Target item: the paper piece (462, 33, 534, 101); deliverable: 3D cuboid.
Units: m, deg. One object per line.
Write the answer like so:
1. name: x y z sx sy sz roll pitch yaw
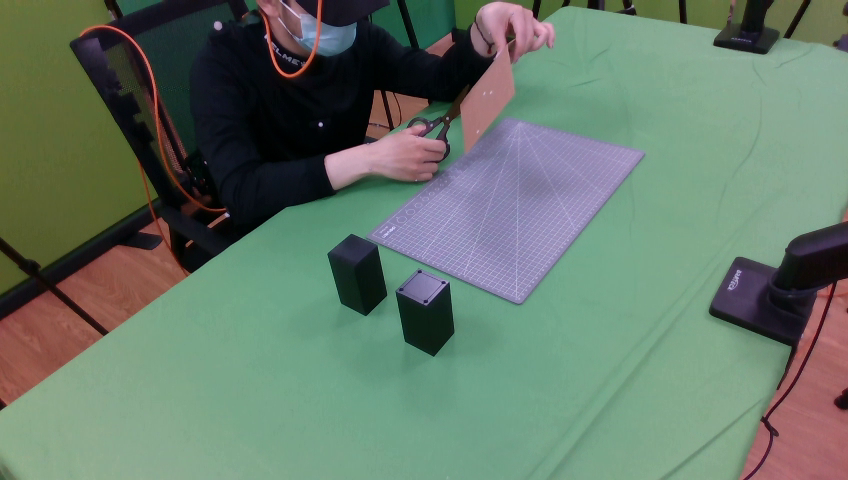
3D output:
1. paper piece: 0.131 -0.304 1.066 0.008 0.135 0.138 47 38 2

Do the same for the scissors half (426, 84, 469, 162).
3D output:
1. scissors half: 0.045 -0.206 1.082 0.040 0.175 0.013 32 44 7

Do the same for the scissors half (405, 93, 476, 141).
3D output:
1. scissors half: 0.028 -0.222 1.080 0.174 0.040 0.013 -20 25 39

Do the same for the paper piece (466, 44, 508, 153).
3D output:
1. paper piece: 0.099 -0.227 0.967 0.004 0.135 0.135 19 46 -16
